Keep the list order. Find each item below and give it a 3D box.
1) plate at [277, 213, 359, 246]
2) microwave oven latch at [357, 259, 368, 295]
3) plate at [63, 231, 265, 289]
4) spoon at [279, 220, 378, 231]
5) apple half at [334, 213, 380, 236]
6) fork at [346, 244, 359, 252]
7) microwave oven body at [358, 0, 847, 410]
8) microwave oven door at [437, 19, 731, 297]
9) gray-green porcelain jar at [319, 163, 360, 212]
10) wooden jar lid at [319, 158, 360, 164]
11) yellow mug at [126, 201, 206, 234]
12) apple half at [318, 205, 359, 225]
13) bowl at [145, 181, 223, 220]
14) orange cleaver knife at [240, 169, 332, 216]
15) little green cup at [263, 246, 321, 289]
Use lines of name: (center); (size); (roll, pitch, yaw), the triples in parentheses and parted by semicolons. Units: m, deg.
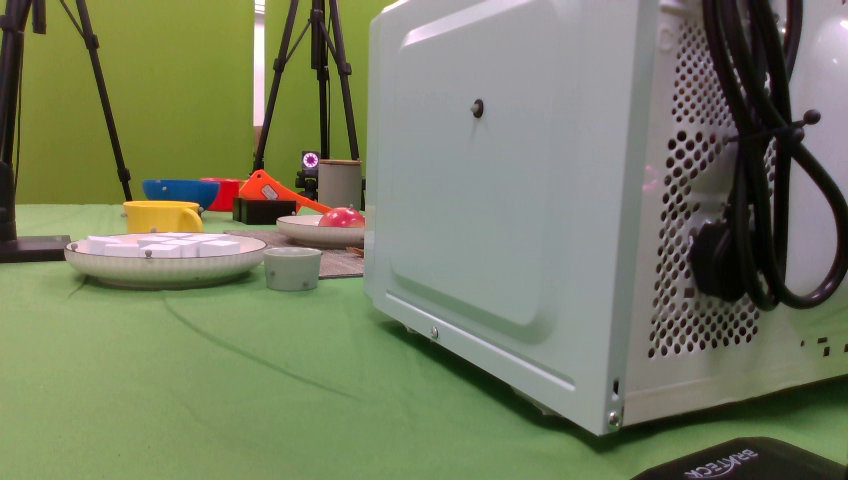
plate: (-0.135, -0.018, 0.994); (0.209, 0.038, 0.209); (2, 7, 0)
microwave oven latch: (-0.019, 0.031, 0.529); (0.079, 0.029, 0.030); (-1, 7, -26)
plate: (-0.288, 0.021, 0.687); (0.208, 0.039, 0.207); (2, 8, 0)
spoon: (-0.173, -0.030, 1.128); (0.195, 0.021, 0.041); (-3, -13, -30)
apple half: (-0.112, -0.029, 1.034); (0.081, 0.033, 0.081); (1, 10, 0)
fork: (-0.027, 0.006, 0.901); (0.208, 0.018, 0.028); (-6, -5, -43)
microwave oven body: (0.210, -0.051, 0.471); (0.444, 0.260, 0.324); (-1, 7, -28)
microwave oven door: (0.181, -0.076, 0.618); (0.358, 0.243, 0.039); (-2, 9, -28)
gray-green porcelain jar: (-0.204, -0.126, 1.490); (0.106, 0.126, 0.106); (2, 7, 0)
wooden jar lid: (-0.203, -0.189, 1.482); (0.108, 0.020, 0.108); (2, 10, 0)
yellow mug: (-0.360, -0.019, 0.866); (0.130, 0.064, 0.100); (6, 9, 27)
apple half: (-0.126, -0.028, 0.954); (0.081, 0.053, 0.074); (-2, 11, -33)
bowl: (-0.499, -0.081, 1.261); (0.151, 0.077, 0.151); (2, 8, 0)
orange cleaver knife: (-0.286, -0.082, 1.298); (0.212, 0.077, 0.012); (25, -2, -31)
little green cup: (-0.142, 0.029, 0.649); (0.061, 0.038, 0.061); (3, 7, 0)
